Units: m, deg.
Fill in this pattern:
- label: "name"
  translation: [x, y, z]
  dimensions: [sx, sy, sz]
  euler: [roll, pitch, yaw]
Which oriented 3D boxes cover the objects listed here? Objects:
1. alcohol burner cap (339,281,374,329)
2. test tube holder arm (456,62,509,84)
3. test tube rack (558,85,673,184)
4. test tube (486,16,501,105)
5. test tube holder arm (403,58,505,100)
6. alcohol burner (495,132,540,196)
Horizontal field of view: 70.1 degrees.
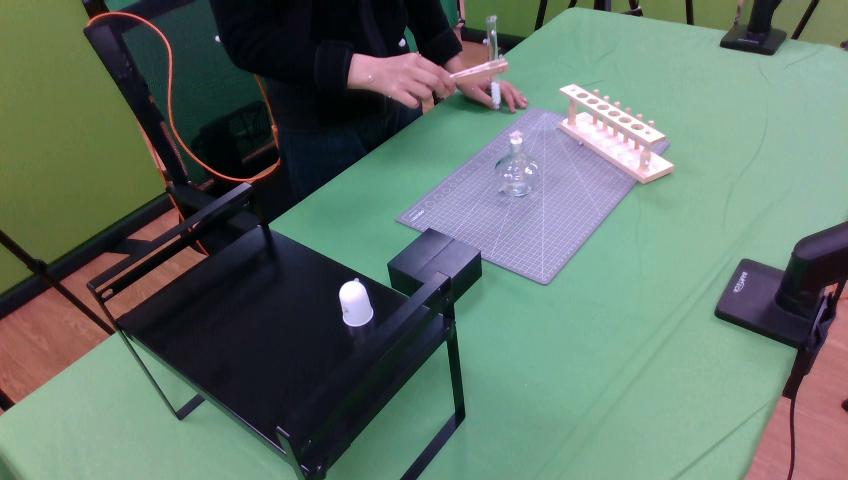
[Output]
- label: "alcohol burner cap"
  translation: [-0.071, 0.063, 0.617]
  dimensions: [0.034, 0.048, 0.033]
  euler: [-4, 39, 4]
- label: "test tube holder arm"
  translation: [0.094, -0.270, 0.978]
  dimensions: [0.088, 0.015, 0.010]
  euler: [-15, 45, -3]
- label: "test tube rack"
  translation: [0.347, -0.203, 1.109]
  dimensions: [0.067, 0.085, 0.240]
  euler: [-22, 42, -17]
- label: "test tube"
  translation: [0.113, -0.286, 0.978]
  dimensions: [0.017, 0.151, 0.017]
  euler: [-6, 43, 6]
- label: "test tube holder arm"
  translation: [0.050, -0.260, 0.977]
  dimensions: [0.179, 0.015, 0.013]
  euler: [-20, 45, -9]
- label: "alcohol burner"
  translation: [0.159, -0.135, 1.035]
  dimensions: [0.078, 0.119, 0.077]
  euler: [-5, 42, 5]
